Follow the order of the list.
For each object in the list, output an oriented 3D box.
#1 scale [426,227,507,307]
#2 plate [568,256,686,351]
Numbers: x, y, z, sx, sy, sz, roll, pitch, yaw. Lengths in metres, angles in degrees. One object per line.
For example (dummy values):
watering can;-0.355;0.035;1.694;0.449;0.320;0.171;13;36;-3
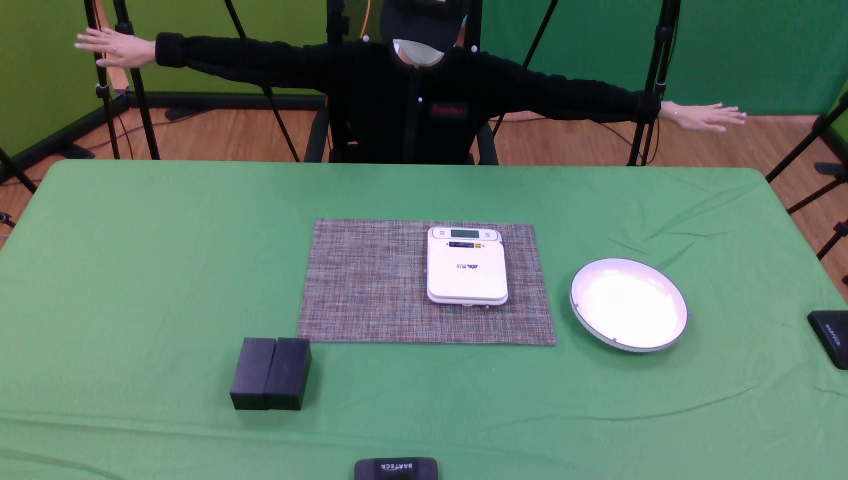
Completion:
scale;0.078;0.043;1.152;0.149;0.032;0.199;3;45;-2
plate;0.364;0.118;1.102;0.208;0.039;0.206;2;46;-2
